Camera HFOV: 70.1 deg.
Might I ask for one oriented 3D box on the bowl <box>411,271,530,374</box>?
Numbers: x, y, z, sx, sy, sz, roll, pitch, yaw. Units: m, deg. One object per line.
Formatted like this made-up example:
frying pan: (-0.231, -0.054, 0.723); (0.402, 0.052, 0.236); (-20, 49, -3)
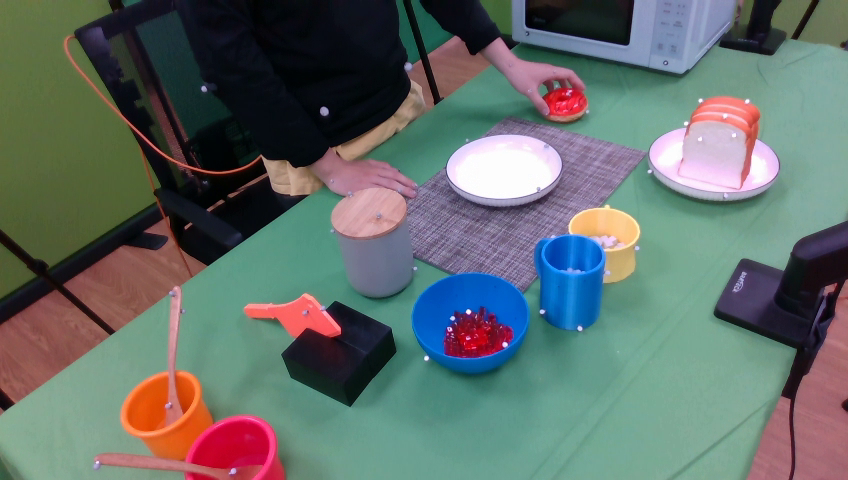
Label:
bowl: (0.061, 0.120, 0.780); (0.151, 0.077, 0.150); (-4, 40, 4)

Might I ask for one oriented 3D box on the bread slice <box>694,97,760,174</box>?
bread slice: (0.497, -0.173, 1.004); (0.106, 0.135, 0.018); (23, 51, 26)

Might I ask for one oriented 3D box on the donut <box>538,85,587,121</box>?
donut: (0.284, -0.281, 1.241); (0.099, 0.048, 0.098); (-5, 43, 5)

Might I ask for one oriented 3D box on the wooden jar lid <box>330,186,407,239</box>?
wooden jar lid: (-0.077, -0.035, 0.846); (0.108, 0.021, 0.108); (-5, 41, 5)

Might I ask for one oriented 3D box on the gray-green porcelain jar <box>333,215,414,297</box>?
gray-green porcelain jar: (-0.071, 0.012, 0.887); (0.106, 0.127, 0.105); (-4, 41, 4)

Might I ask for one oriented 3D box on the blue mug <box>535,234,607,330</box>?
blue mug: (0.191, 0.048, 0.824); (0.082, 0.106, 0.115); (-26, 44, -20)

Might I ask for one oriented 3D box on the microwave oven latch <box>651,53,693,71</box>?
microwave oven latch: (0.532, -0.386, 1.301); (0.078, 0.029, 0.030); (27, 52, 34)

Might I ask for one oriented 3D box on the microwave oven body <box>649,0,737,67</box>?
microwave oven body: (0.475, -0.602, 1.411); (0.438, 0.261, 0.327); (23, 50, 32)

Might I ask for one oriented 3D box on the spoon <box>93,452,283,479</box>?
spoon: (-0.240, 0.239, 0.632); (0.195, 0.021, 0.041); (26, 34, -32)

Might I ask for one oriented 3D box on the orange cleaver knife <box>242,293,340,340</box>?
orange cleaver knife: (-0.185, 0.107, 0.827); (0.210, 0.077, 0.012); (-9, 29, 48)

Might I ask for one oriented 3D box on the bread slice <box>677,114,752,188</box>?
bread slice: (0.467, -0.144, 0.976); (0.104, 0.132, 0.019); (18, 55, 30)

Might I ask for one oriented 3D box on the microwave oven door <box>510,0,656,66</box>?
microwave oven door: (0.350, -0.539, 1.349); (0.353, 0.245, 0.039); (24, 50, 31)

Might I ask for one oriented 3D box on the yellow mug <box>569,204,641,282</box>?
yellow mug: (0.268, -0.005, 0.904); (0.099, 0.064, 0.130); (7, 41, 15)

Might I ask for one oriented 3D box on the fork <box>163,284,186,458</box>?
fork: (-0.302, 0.157, 0.733); (0.028, 0.019, 0.207); (-3, 84, 15)

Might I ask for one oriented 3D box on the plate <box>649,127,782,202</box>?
plate: (0.493, -0.127, 1.036); (0.207, 0.039, 0.206); (-4, 41, 4)

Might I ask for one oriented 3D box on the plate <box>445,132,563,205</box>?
plate: (0.142, -0.123, 1.076); (0.209, 0.038, 0.208); (-4, 41, 4)
